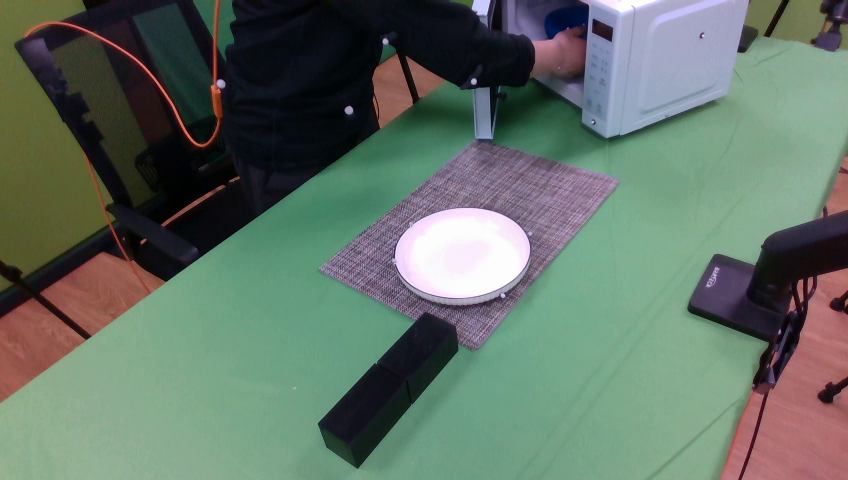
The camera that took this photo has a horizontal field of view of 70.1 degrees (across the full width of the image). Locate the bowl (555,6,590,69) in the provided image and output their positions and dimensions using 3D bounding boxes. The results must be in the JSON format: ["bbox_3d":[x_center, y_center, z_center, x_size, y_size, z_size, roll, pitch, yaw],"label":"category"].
[{"bbox_3d":[0.343,-0.410,1.255,0.151,0.077,0.150,-1,53,1],"label":"bowl"}]

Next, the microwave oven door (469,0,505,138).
[{"bbox_3d":[0.133,-0.404,1.225,0.039,0.245,0.354,1,41,11],"label":"microwave oven door"}]

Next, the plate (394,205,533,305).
[{"bbox_3d":[0.059,0.025,0.915,0.207,0.039,0.206,-4,41,4],"label":"plate"}]

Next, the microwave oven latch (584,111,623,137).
[{"bbox_3d":[0.337,-0.222,1.142,0.030,0.029,0.078,-21,42,-14],"label":"microwave oven latch"}]

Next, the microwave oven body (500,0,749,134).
[{"bbox_3d":[0.382,-0.444,1.246,0.327,0.261,0.437,-22,42,-16],"label":"microwave oven body"}]
